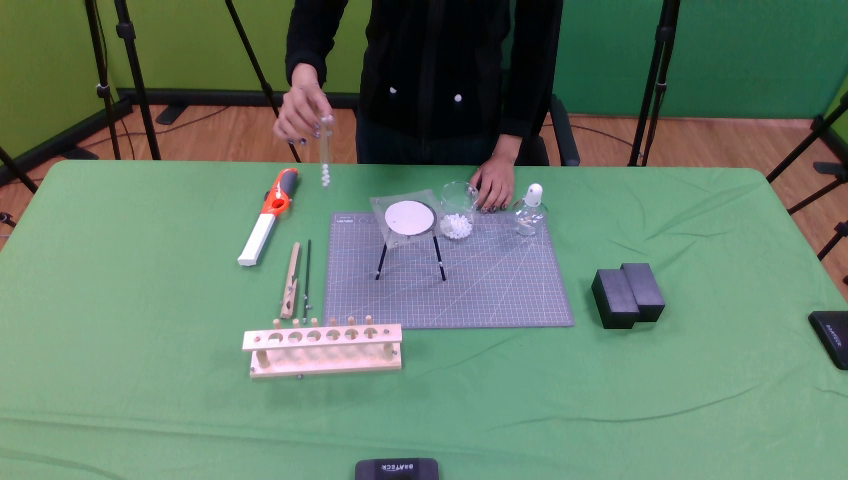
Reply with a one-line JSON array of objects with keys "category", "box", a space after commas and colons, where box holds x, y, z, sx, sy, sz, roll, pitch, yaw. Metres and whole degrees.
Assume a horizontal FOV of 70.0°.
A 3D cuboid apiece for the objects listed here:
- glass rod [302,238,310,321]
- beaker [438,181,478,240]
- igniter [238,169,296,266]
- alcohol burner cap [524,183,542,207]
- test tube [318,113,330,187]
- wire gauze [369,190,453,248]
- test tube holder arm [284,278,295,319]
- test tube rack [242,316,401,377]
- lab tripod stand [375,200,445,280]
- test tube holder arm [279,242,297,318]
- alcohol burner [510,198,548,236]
[{"category": "glass rod", "box": [-0.218, 0.069, 1.125, 0.008, 0.008, 0.198, -2, 47, -5]}, {"category": "beaker", "box": [0.066, -0.054, 1.200, 0.074, 0.101, 0.083, -17, 50, -19]}, {"category": "igniter", "box": [-0.313, -0.055, 1.224, 0.057, 0.025, 0.275, 1, 45, 10]}, {"category": "alcohol burner cap", "box": [0.216, -0.090, 1.186, 0.034, 0.048, 0.033, 1, 55, -2]}, {"category": "test tube", "box": [-0.169, -0.149, 1.027, 0.017, 0.151, 0.017, 3, 45, -3]}, {"category": "wire gauze", "box": [-0.025, -0.042, 1.064, 0.121, 0.011, 0.124, -11, 48, -17]}, {"category": "test tube holder arm", "box": [-0.241, 0.103, 1.085, 0.010, 0.015, 0.087, 25, 39, -27]}, {"category": "test tube rack", "box": [-0.161, 0.166, 0.983, 0.242, 0.085, 0.066, -2, 46, -6]}, {"category": "lab tripod stand", "box": [-0.023, 0.003, 1.113, 0.148, 0.132, 0.147, 4, 45, -3]}, {"category": "test tube holder arm", "box": [-0.249, 0.069, 1.113, 0.013, 0.015, 0.177, 25, 39, -27]}, {"category": "alcohol burner", "box": [0.214, -0.066, 1.213, 0.078, 0.119, 0.077, 3, 48, -3]}]
